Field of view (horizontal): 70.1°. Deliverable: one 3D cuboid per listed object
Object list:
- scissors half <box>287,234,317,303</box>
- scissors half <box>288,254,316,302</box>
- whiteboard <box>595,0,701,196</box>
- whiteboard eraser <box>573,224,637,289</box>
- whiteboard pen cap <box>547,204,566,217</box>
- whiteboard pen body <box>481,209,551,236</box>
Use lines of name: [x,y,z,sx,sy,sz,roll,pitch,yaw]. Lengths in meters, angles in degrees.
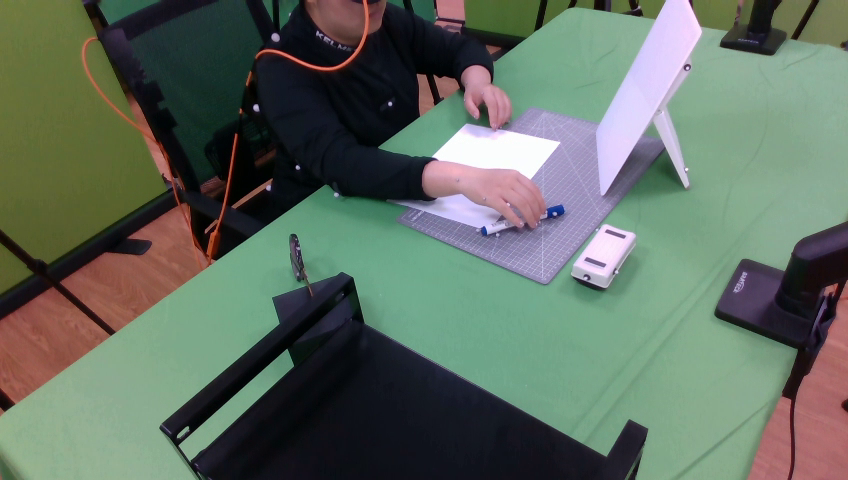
scissors half: [-0.178,0.040,0.884,0.013,0.040,0.173,-10,36,-21]
scissors half: [-0.178,0.058,0.894,0.013,0.040,0.174,-15,20,-18]
whiteboard: [0.421,-0.227,1.010,0.144,0.305,0.216,18,42,-2]
whiteboard eraser: [0.267,0.025,0.890,0.055,0.042,0.113,19,47,31]
whiteboard pen cap: [0.216,-0.047,0.997,0.033,0.018,0.018,-14,41,-9]
whiteboard pen body: [0.160,-0.032,0.984,0.141,0.017,0.017,-16,41,-11]
